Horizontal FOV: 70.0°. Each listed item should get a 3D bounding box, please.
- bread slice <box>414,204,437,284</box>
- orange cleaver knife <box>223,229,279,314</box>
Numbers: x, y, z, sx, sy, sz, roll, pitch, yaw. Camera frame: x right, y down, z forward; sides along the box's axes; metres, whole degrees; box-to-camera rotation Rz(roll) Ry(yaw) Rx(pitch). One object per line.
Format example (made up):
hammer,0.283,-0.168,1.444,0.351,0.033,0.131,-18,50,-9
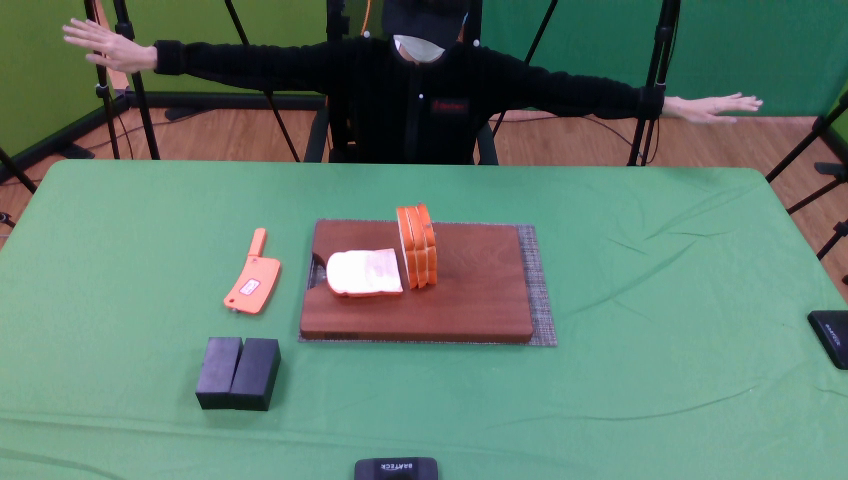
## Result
bread slice,0.003,0.004,1.077,0.018,0.135,0.106,-12,54,-7
orange cleaver knife,-0.311,0.055,1.125,0.077,0.012,0.210,3,44,2
